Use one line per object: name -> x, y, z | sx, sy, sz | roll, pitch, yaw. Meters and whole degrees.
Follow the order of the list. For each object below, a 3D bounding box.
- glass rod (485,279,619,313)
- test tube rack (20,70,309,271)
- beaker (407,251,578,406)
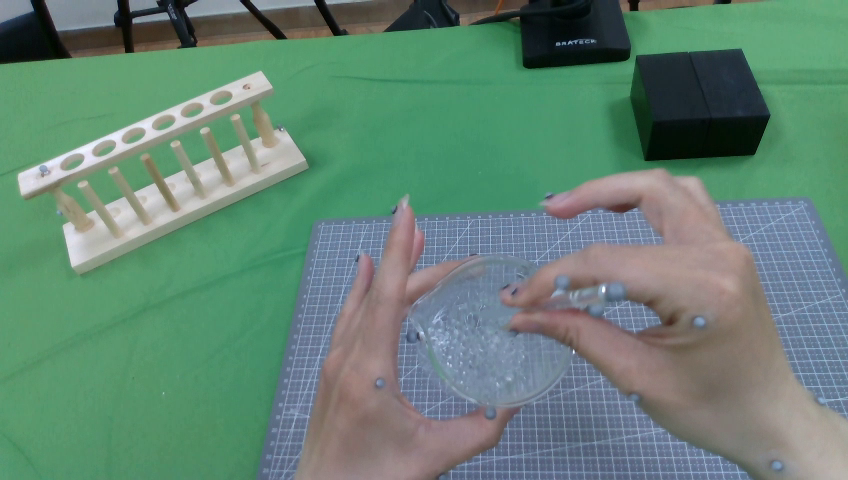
glass rod -> 0.051, 0.029, 0.288 | 0.008, 0.200, 0.008 | 1, 82, -5
test tube rack -> -0.246, -0.070, 0.596 | 0.242, 0.086, 0.066 | -27, 53, -13
beaker -> 0.030, 0.052, 0.337 | 0.084, 0.100, 0.073 | 12, 76, -1
